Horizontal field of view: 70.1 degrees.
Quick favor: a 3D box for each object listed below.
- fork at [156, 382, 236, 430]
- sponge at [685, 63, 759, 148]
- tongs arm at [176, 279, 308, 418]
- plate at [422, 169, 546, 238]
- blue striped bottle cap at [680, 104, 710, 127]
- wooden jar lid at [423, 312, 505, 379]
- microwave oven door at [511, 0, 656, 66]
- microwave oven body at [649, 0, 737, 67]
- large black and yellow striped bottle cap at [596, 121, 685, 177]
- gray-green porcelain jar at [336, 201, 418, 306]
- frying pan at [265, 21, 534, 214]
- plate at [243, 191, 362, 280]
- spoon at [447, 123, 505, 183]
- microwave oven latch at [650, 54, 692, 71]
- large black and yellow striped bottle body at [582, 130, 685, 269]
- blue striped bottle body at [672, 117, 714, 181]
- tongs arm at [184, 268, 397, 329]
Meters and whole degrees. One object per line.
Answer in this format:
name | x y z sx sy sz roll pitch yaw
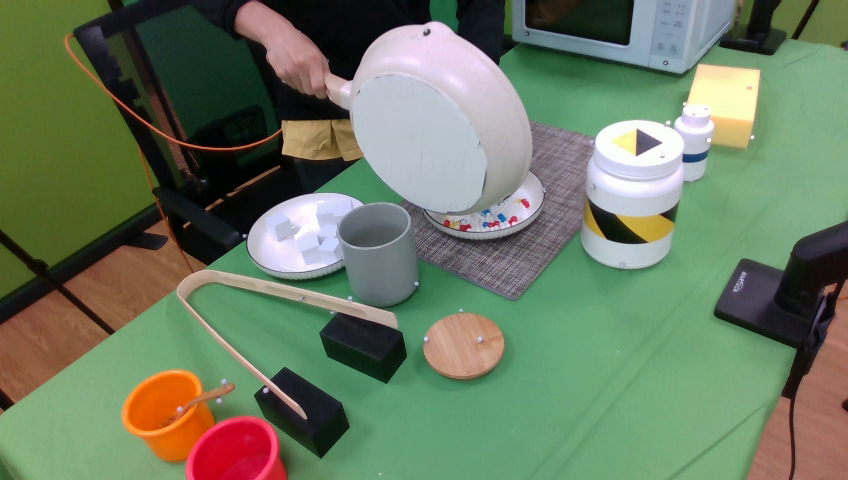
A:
fork | -0.262 0.189 0.690 0.018 0.206 0.028 48 43 -7
sponge | 0.569 -0.263 1.164 0.117 0.061 0.207 12 45 22
tongs arm | -0.255 0.132 0.801 0.028 0.028 0.384 -41 40 -23
plate | 0.100 -0.068 1.017 0.209 0.038 0.208 -4 40 4
blue striped bottle cap | 0.443 -0.205 0.989 0.044 0.021 0.044 -1 41 2
wooden jar lid | 0.053 0.142 0.800 0.108 0.021 0.108 -4 39 4
microwave oven door | 0.351 -0.540 1.349 0.353 0.245 0.039 24 50 31
microwave oven body | 0.475 -0.602 1.411 0.438 0.261 0.327 23 50 32
large black and yellow striped bottle cap | 0.293 -0.126 0.821 0.115 0.019 0.114 -5 40 5
gray-green porcelain jar | -0.064 0.024 0.872 0.106 0.127 0.105 -4 41 4
frying pan | -0.069 -0.197 0.898 0.484 0.308 0.103 31 54 27
plate | -0.187 -0.005 0.992 0.207 0.039 0.206 -3 41 3
spoon | 0.090 -0.148 0.992 0.041 0.021 0.194 31 43 9
microwave oven latch | 0.531 -0.386 1.301 0.078 0.029 0.030 24 50 32
large black and yellow striped bottle body | 0.301 -0.064 0.878 0.131 0.185 0.130 -4 41 4
blue striped bottle body | 0.449 -0.165 1.022 0.063 0.121 0.063 -5 41 4
tongs arm | -0.202 0.084 0.848 0.382 0.027 0.051 11 44 35
